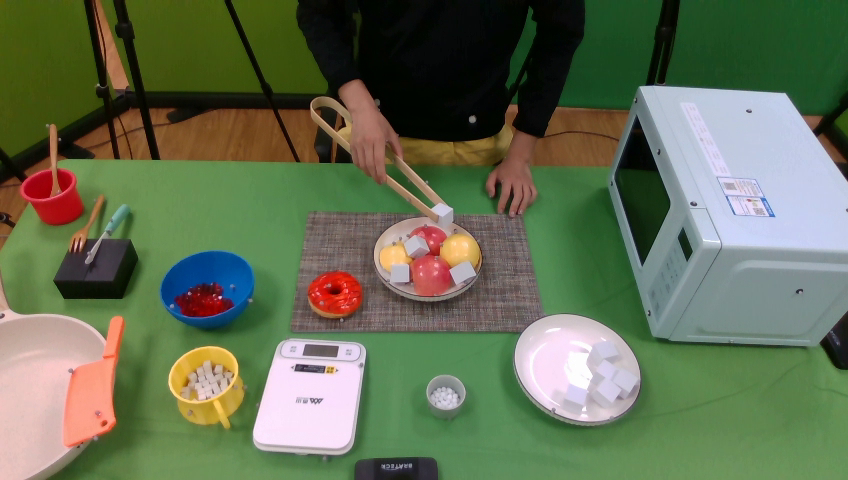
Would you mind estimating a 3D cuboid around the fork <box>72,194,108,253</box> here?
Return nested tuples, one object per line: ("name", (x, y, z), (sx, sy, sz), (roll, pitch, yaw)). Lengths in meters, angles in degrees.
("fork", (-0.634, -0.036, 1.158), (0.028, 0.019, 0.206), (-7, 31, -8))

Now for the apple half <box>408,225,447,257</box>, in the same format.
("apple half", (0.011, -0.006, 1.176), (0.081, 0.033, 0.081), (2, 52, -2))

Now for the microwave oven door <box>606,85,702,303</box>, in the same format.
("microwave oven door", (0.422, -0.094, 1.140), (0.039, 0.245, 0.353), (2, 46, -1))

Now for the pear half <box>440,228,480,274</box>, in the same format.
("pear half", (0.065, 0.006, 1.150), (0.076, 0.056, 0.109), (-10, 44, -2))

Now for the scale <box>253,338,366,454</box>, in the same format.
("scale", (-0.175, 0.236, 0.951), (0.149, 0.032, 0.199), (4, 45, -1))

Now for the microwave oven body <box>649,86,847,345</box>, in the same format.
("microwave oven body", (0.567, -0.053, 1.118), (0.326, 0.261, 0.439), (2, 45, -1))

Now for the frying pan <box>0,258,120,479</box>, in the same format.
("frying pan", (-0.647, 0.164, 0.936), (0.307, 0.103, 0.485), (-19, 58, -22))

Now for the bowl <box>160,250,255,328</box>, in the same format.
("bowl", (-0.362, 0.098, 1.040), (0.151, 0.077, 0.150), (2, 45, -2))

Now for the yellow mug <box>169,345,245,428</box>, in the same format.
("yellow mug", (-0.322, 0.230, 0.922), (0.100, 0.064, 0.130), (-24, 53, -25))

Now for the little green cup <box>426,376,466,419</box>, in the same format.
("little green cup", (0.033, 0.248, 0.950), (0.061, 0.039, 0.061), (2, 46, -2))

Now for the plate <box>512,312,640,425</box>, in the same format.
("plate", (0.246, 0.213, 0.999), (0.208, 0.039, 0.206), (2, 46, -2))

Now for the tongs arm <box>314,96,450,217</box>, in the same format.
("tongs arm", (-0.090, -0.170, 1.201), (0.051, 0.026, 0.383), (-32, 64, -25))

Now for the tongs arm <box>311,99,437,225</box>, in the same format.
("tongs arm", (-0.108, -0.157, 1.190), (0.028, 0.028, 0.386), (-38, 67, -23))

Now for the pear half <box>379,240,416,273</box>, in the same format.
("pear half", (-0.048, 0.024, 1.146), (0.070, 0.031, 0.087), (12, 47, -11))

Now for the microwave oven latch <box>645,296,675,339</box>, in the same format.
("microwave oven latch", (0.412, 0.134, 1.061), (0.030, 0.029, 0.078), (3, 45, 0))

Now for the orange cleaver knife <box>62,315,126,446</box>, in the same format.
("orange cleaver knife", (-0.480, 0.199, 0.887), (0.077, 0.012, 0.210), (-9, 47, -7))

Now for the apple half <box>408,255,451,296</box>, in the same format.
("apple half", (0.012, 0.058, 1.103), (0.075, 0.053, 0.080), (-6, 43, -13))

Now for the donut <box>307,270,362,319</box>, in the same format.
("donut", (-0.157, 0.097, 1.073), (0.099, 0.048, 0.098), (4, 45, -4))

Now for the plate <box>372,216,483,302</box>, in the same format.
("plate", (0.006, 0.038, 1.145), (0.209, 0.038, 0.208), (2, 46, -2))

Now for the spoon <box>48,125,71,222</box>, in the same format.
("spoon", (-0.718, -0.131, 1.188), (0.041, 0.021, 0.193), (-3, 90, -7))

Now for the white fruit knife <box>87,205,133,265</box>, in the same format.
("white fruit knife", (-0.584, -0.013, 1.129), (0.016, 0.027, 0.206), (-1, 32, -4))
